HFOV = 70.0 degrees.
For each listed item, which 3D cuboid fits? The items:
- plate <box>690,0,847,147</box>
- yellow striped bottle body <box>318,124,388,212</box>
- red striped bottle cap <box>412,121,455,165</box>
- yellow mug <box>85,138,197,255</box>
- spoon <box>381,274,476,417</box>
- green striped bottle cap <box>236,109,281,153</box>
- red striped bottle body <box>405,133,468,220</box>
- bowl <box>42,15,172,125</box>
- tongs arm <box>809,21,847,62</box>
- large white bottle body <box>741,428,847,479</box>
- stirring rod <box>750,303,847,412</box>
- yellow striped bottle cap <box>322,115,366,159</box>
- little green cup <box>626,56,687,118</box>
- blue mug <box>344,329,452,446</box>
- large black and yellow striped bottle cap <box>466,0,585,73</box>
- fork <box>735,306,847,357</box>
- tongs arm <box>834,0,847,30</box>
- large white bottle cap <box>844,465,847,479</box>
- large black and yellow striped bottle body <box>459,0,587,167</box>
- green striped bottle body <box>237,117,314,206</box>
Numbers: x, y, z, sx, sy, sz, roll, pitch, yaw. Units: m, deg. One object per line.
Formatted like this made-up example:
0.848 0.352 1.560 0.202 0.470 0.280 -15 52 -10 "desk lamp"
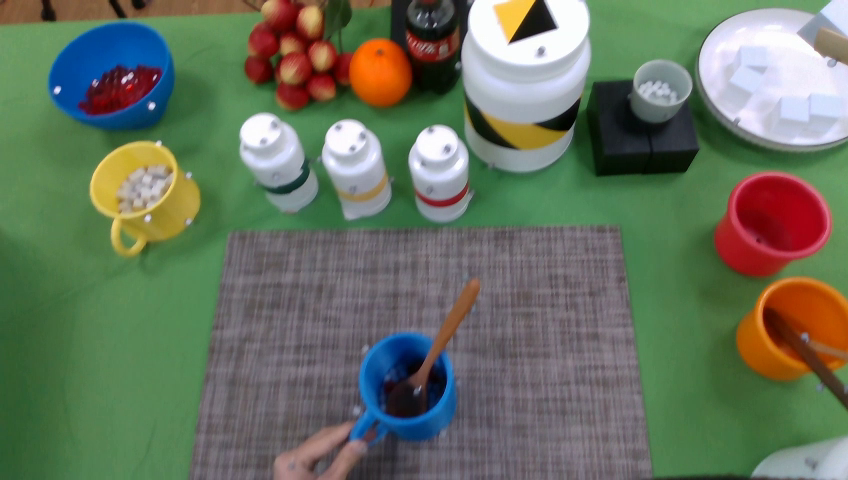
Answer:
0.423 -0.196 0.727 0.209 0.038 0.207 -1 67 3 "plate"
-0.078 -0.085 0.667 0.063 0.121 0.062 -2 65 4 "yellow striped bottle body"
0.009 -0.098 0.610 0.044 0.018 0.044 0 65 0 "red striped bottle cap"
-0.329 -0.045 0.697 0.100 0.064 0.130 9 68 7 "yellow mug"
0.004 0.102 0.535 0.041 0.195 0.021 41 40 20 "spoon"
-0.172 -0.114 0.630 0.044 0.020 0.044 0 68 1 "green striped bottle cap"
0.014 -0.076 0.657 0.063 0.120 0.062 -3 64 6 "red striped bottle body"
-0.381 -0.198 0.762 0.151 0.077 0.150 -1 66 3 "bowl"
0.424 -0.063 0.369 0.051 0.027 0.380 -34 52 -7 "tongs arm"
0.344 0.215 0.469 0.130 0.186 0.129 -2 66 4 "large white bottle body"
0.340 0.101 0.548 0.014 0.006 0.175 2 23 2 "stirring rod"
-0.082 -0.106 0.620 0.044 0.019 0.044 -1 67 3 "yellow striped bottle cap"
0.255 -0.167 0.671 0.061 0.039 0.061 -1 65 3 "little green cup"
-0.028 0.148 0.565 0.116 0.106 0.082 -42 69 -14 "blue mug"
0.097 -0.212 0.584 0.115 0.019 0.114 -2 65 4 "large black and yellow striped bottle cap"
0.369 0.101 0.537 0.028 0.019 0.205 -28 22 -15 "fork"
0.441 -0.076 0.373 0.028 0.028 0.383 -36 52 -13 "tongs arm"
0.336 0.179 0.393 0.115 0.018 0.114 -1 65 3 "large white bottle cap"
0.104 -0.179 0.662 0.131 0.185 0.129 -2 66 4 "large black and yellow striped bottle body"
-0.167 -0.092 0.677 0.063 0.120 0.062 -1 66 3 "green striped bottle body"
